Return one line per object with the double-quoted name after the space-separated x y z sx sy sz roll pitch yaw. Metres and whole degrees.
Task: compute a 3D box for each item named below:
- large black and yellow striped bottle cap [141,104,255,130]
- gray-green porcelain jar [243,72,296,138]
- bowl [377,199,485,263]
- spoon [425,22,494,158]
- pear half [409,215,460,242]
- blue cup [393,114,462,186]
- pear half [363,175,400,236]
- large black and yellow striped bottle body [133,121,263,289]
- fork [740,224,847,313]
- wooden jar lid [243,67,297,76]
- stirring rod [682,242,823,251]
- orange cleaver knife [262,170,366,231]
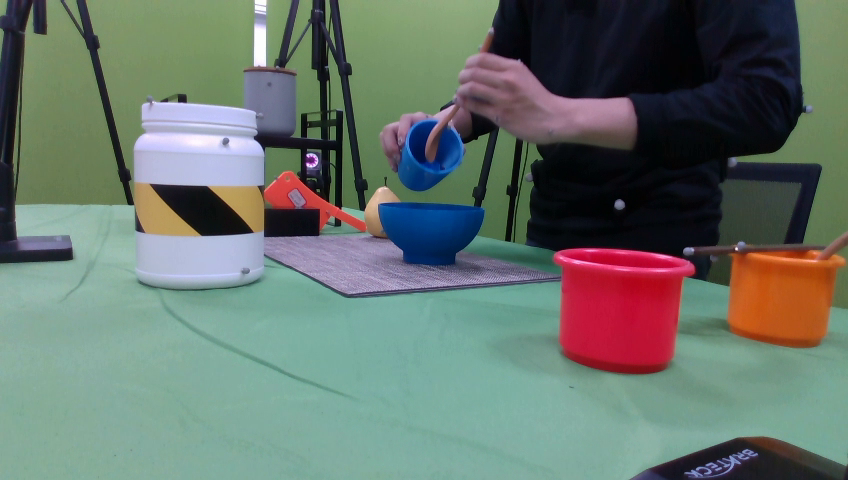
-0.241 -0.131 0.650 0.115 0.019 0.115 3 8 0 "large black and yellow striped bottle cap"
-0.322 -0.279 1.263 0.106 0.126 0.106 3 8 0 "gray-green porcelain jar"
0.008 -0.012 0.842 0.151 0.077 0.151 2 8 0 "bowl"
0.045 -0.191 0.785 0.021 0.193 0.042 35 29 5 "spoon"
0.012 -0.019 0.848 0.070 0.031 0.088 4 11 33 "pear half"
-0.003 -0.124 0.888 0.093 0.092 0.100 -1 -15 -21 "blue cup"
-0.064 -0.061 1.077 0.055 0.110 0.077 9 14 39 "pear half"
-0.243 -0.048 0.659 0.131 0.184 0.130 2 7 0 "large black and yellow striped bottle body"
0.323 0.013 0.485 0.028 0.018 0.207 8 -37 -6 "fork"
-0.319 -0.342 1.254 0.108 0.020 0.108 3 8 0 "wooden jar lid"
0.289 0.005 0.525 0.177 0.006 0.014 -1 5 -26 "stirring rod"
-0.201 -0.057 1.136 0.212 0.077 0.012 31 -3 -31 "orange cleaver knife"
